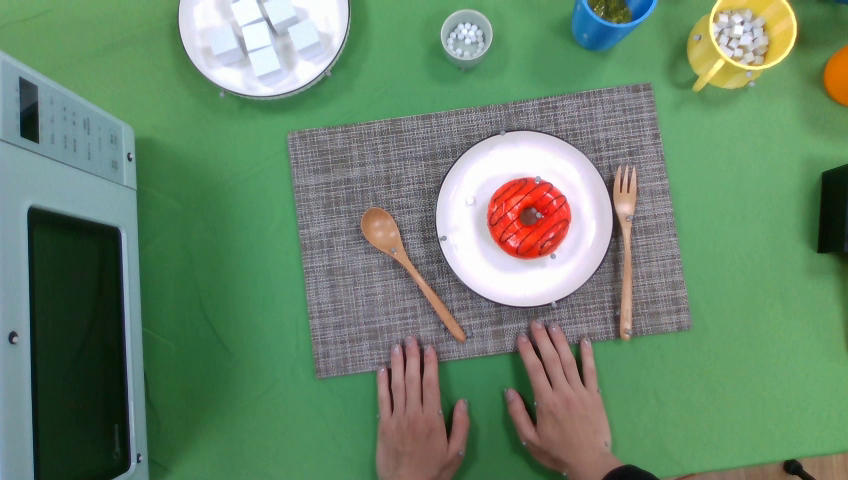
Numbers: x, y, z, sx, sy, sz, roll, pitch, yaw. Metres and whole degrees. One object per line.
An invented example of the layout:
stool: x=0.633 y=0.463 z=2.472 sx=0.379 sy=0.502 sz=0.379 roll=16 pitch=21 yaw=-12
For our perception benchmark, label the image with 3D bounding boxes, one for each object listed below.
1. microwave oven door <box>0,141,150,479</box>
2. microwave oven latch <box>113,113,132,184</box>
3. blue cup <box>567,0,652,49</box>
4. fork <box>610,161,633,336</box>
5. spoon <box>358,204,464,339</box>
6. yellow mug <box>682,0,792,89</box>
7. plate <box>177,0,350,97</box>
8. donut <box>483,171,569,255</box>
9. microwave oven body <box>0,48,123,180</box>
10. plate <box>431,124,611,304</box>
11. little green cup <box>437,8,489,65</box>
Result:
microwave oven door: x=-0.349 y=0.102 z=0.593 sx=0.039 sy=0.244 sz=0.355 roll=-5 pitch=85 yaw=1
microwave oven latch: x=-0.362 y=-0.107 z=0.711 sx=0.030 sy=0.029 sz=0.079 roll=-3 pitch=86 yaw=0
blue cup: x=0.207 y=-0.269 z=0.702 sx=0.092 sy=0.100 sz=0.092 roll=0 pitch=87 yaw=1
fork: x=0.235 y=0.010 z=0.717 sx=0.028 sy=0.018 sz=0.206 roll=2 pitch=83 yaw=-3
spoon: x=-0.014 y=0.039 z=0.717 sx=0.041 sy=0.022 sz=0.193 roll=-36 pitch=86 yaw=-21
yellow mug: x=0.357 y=-0.230 z=0.714 sx=0.100 sy=0.064 sz=0.131 roll=41 pitch=88 yaw=3
plate: x=-0.192 y=-0.273 z=0.740 sx=0.208 sy=0.039 sz=0.207 roll=0 pitch=85 yaw=1
donut: x=0.117 y=-0.031 z=0.702 sx=0.099 sy=0.048 sz=0.099 roll=0 pitch=86 yaw=3
microwave oven body: x=-0.498 y=0.073 z=0.603 sx=0.326 sy=0.260 sz=0.440 roll=-5 pitch=86 yaw=0
plate: x=0.112 y=-0.029 z=0.713 sx=0.209 sy=0.038 sz=0.208 roll=0 pitch=86 yaw=1
little green cup: x=0.047 y=-0.244 z=0.734 sx=0.061 sy=0.039 sz=0.061 roll=0 pitch=85 yaw=1
